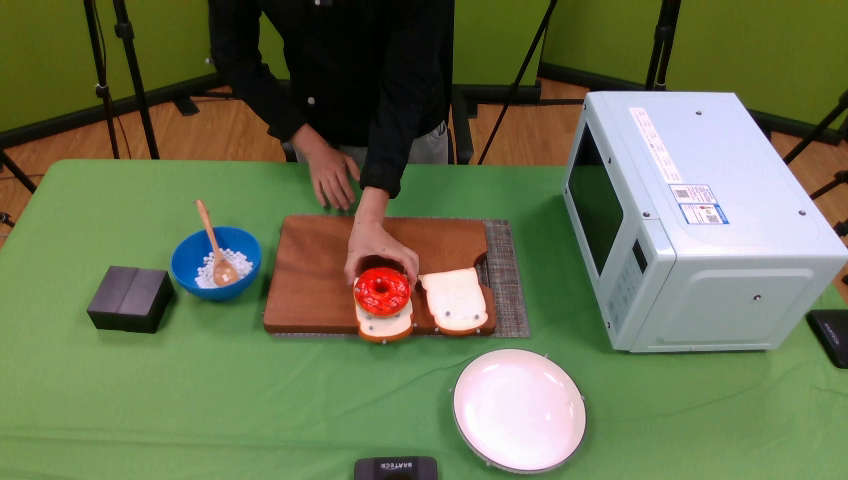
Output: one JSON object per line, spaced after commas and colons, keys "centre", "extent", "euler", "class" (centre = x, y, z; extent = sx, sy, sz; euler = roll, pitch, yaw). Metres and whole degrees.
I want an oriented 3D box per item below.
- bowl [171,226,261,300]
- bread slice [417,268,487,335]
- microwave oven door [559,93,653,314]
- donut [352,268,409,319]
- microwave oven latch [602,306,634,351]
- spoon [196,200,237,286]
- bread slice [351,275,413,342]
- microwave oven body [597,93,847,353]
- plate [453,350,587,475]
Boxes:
{"centre": [-0.363, 0.054, 1.081], "extent": [0.151, 0.077, 0.150], "euler": [2, 45, -2], "class": "bowl"}
{"centre": [0.055, 0.107, 1.063], "extent": [0.107, 0.018, 0.133], "euler": [-9, 48, -12], "class": "bread slice"}
{"centre": [0.327, -0.074, 1.123], "extent": [0.039, 0.245, 0.353], "euler": [-1, 46, -5], "class": "microwave oven door"}
{"centre": [-0.073, 0.090, 1.027], "extent": [0.099, 0.048, 0.098], "euler": [2, 49, -2], "class": "donut"}
{"centre": [0.332, 0.153, 1.044], "extent": [0.030, 0.029, 0.078], "euler": [0, 45, -4], "class": "microwave oven latch"}
{"centre": [-0.378, 0.003, 1.086], "extent": [0.042, 0.022, 0.193], "euler": [-15, 67, -24], "class": "spoon"}
{"centre": [-0.070, 0.116, 1.044], "extent": [0.105, 0.019, 0.130], "euler": [-5, 49, -7], "class": "bread slice"}
{"centre": [0.475, -0.041, 1.109], "extent": [0.326, 0.261, 0.438], "euler": [-1, 45, -4], "class": "microwave oven body"}
{"centre": [0.147, 0.267, 0.943], "extent": [0.208, 0.039, 0.206], "euler": [2, 45, -2], "class": "plate"}
